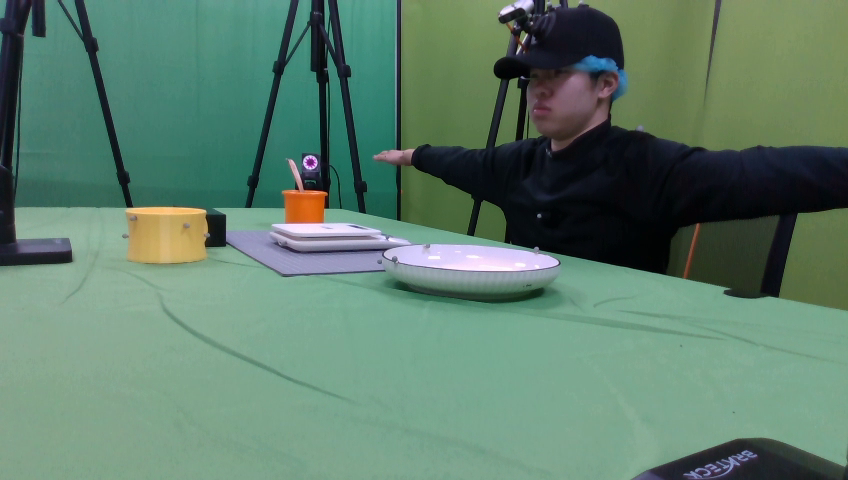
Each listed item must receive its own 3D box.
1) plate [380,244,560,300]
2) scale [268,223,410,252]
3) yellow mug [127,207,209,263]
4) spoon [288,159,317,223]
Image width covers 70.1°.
[{"bbox_3d":[0.053,0.036,0.708,0.209,0.038,0.209,2,7,0],"label":"plate"},{"bbox_3d":[-0.137,-0.006,0.980,0.202,0.031,0.148,-1,8,-30],"label":"scale"},{"bbox_3d":[-0.339,-0.010,0.827,0.100,0.064,0.131,5,7,17],"label":"yellow mug"},{"bbox_3d":[-0.259,-0.103,1.268,0.042,0.193,0.021,3,-39,-33],"label":"spoon"}]
